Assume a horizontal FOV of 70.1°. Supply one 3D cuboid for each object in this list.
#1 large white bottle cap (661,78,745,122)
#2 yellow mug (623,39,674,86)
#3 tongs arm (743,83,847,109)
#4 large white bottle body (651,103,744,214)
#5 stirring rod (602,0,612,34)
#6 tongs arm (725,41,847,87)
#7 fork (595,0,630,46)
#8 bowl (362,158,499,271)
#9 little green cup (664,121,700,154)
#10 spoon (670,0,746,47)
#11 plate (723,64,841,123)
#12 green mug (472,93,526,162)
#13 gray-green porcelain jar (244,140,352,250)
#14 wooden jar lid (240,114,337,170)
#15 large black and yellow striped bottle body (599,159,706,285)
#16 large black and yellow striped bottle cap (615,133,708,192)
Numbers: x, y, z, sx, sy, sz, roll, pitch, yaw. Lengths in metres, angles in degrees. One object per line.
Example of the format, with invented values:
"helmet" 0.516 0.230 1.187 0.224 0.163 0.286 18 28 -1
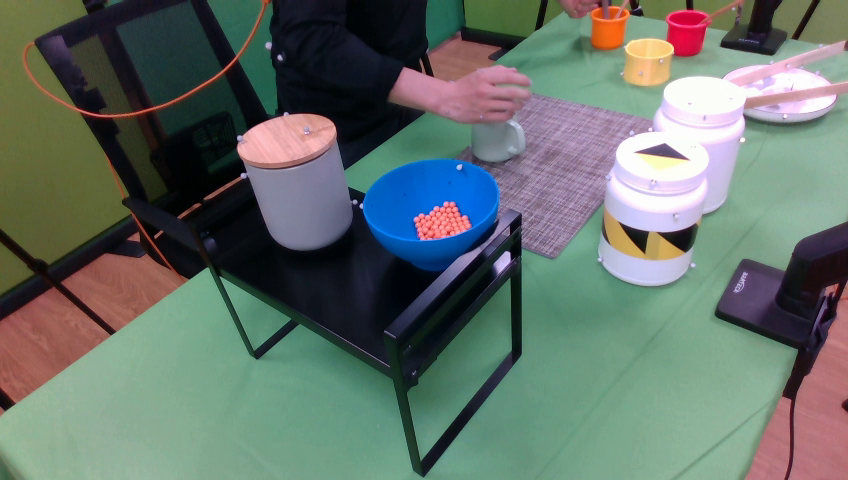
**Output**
"large white bottle cap" 0.415 -0.210 0.904 0.115 0.018 0.114 -4 40 4
"yellow mug" 0.485 -0.398 1.334 0.100 0.064 0.130 -18 41 -11
"tongs arm" 0.738 -0.282 1.134 0.388 0.028 0.028 -9 47 -5
"large white bottle body" 0.426 -0.146 0.958 0.130 0.185 0.130 -4 40 4
"stirring rod" 0.436 -0.581 1.457 0.014 0.176 0.006 -6 -4 14
"tongs arm" 0.712 -0.332 1.194 0.386 0.026 0.050 -18 45 -16
"fork" 0.480 -0.556 1.452 0.028 0.019 0.207 41 104 39
"bowl" 0.011 -0.019 0.679 0.151 0.077 0.150 -4 41 4
"little green cup" 0.473 -0.188 1.113 0.061 0.039 0.061 -5 40 5
"spoon" 0.629 -0.484 1.350 0.022 0.193 0.042 48 54 -7
"plate" 0.695 -0.282 1.189 0.207 0.039 0.206 -4 40 4
"green mug" 0.144 -0.202 1.122 0.093 0.105 0.124 -29 45 -23
"gray-green porcelain jar" -0.144 -0.060 0.714 0.106 0.127 0.105 -4 41 4
"wooden jar lid" -0.149 -0.106 0.674 0.108 0.021 0.108 -6 39 5
"large black and yellow striped bottle body" 0.320 -0.042 0.854 0.131 0.185 0.130 -4 41 4
"large black and yellow striped bottle cap" 0.313 -0.105 0.798 0.115 0.019 0.114 -5 41 5
